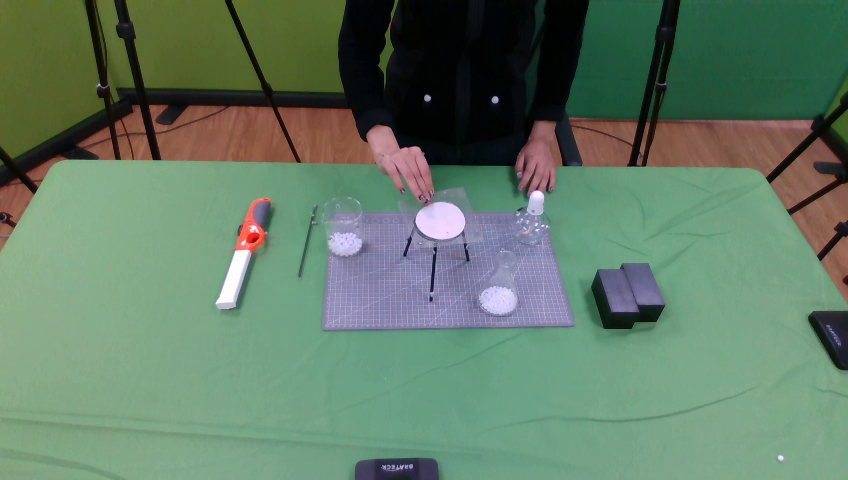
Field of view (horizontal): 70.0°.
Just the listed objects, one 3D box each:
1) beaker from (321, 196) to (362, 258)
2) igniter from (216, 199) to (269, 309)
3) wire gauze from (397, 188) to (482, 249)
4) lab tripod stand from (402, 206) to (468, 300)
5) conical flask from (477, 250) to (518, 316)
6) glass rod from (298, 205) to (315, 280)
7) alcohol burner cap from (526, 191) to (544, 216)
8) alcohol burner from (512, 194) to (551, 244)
[{"bbox_3d":[-0.156,-0.021,1.150,0.084,0.101,0.073,-30,55,-28],"label":"beaker"},{"bbox_3d":[-0.342,0.016,1.153,0.057,0.025,0.275,-3,45,7],"label":"igniter"},{"bbox_3d":[0.026,-0.038,1.058,0.125,0.011,0.120,-10,53,-11],"label":"wire gauze"},{"bbox_3d":[0.023,0.013,1.108,0.148,0.132,0.147,3,44,-2],"label":"lab tripod stand"},{"bbox_3d":[0.136,0.072,1.067,0.075,0.122,0.075,2,46,-2],"label":"conical flask"},{"bbox_3d":[-0.231,0.001,1.192,0.008,0.008,0.198,2,46,-2],"label":"glass rod"},{"bbox_3d":[0.216,-0.073,1.170,0.034,0.048,0.033,0,42,1],"label":"alcohol burner cap"},{"bbox_3d":[0.215,-0.048,1.196,0.078,0.119,0.077,4,46,-4],"label":"alcohol burner"}]
